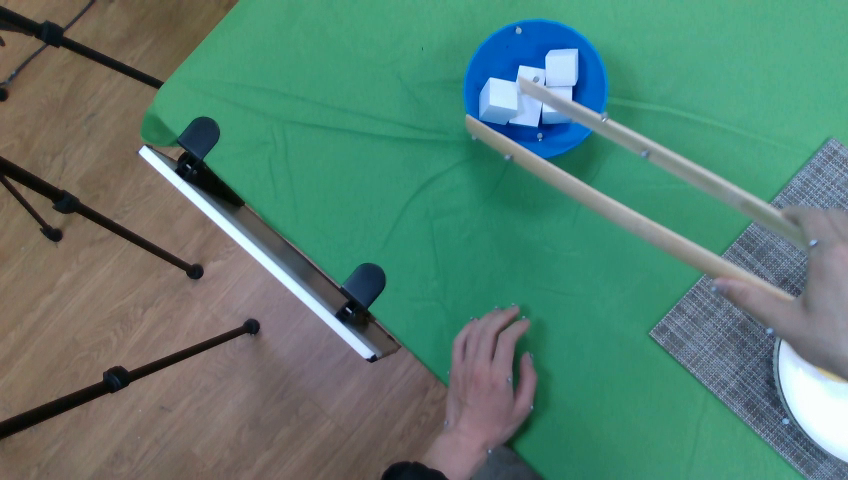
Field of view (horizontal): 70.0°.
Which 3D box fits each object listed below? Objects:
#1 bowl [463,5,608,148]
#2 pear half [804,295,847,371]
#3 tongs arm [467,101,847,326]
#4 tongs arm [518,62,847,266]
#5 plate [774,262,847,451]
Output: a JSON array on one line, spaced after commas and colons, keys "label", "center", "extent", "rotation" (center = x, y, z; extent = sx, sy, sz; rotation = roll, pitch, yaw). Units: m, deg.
[{"label": "bowl", "center": [0.118, -0.166, 0.665], "extent": [0.151, 0.077, 0.151], "rotation": [0, 86, 5]}, {"label": "pear half", "center": [0.457, 0.085, 0.620], "extent": [0.110, 0.056, 0.076], "rotation": [-37, 87, -3]}, {"label": "tongs arm", "center": [0.173, -0.039, 0.519], "extent": [0.028, 0.028, 0.383], "rotation": [-39, 54, -18]}, {"label": "tongs arm", "center": [0.206, -0.066, 0.528], "extent": [0.051, 0.027, 0.381], "rotation": [-40, 54, -15]}, {"label": "plate", "center": [0.469, 0.119, 0.630], "extent": [0.207, 0.039, 0.207], "rotation": [0, 85, 5]}]
